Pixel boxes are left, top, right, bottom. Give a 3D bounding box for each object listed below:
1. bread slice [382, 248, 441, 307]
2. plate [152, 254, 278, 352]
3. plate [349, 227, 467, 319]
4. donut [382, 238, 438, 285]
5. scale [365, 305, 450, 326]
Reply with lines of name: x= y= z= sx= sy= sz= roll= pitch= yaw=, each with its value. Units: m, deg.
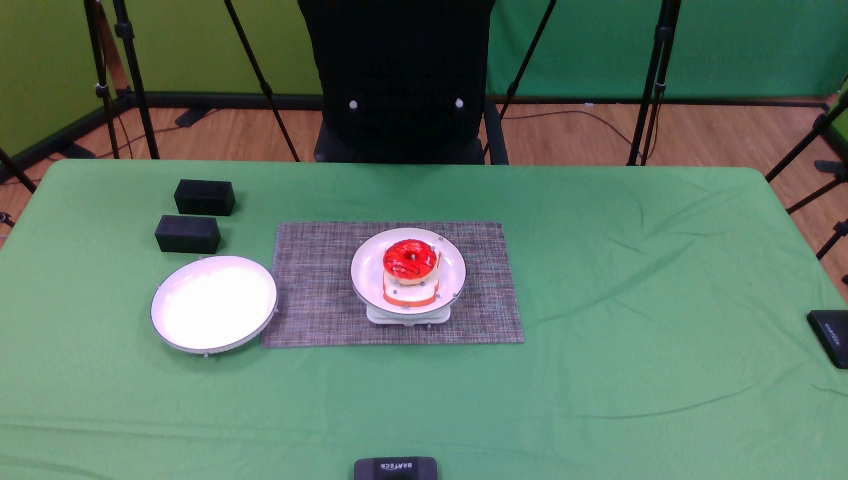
bread slice: x=-0.023 y=0.064 z=1.078 sx=0.105 sy=0.019 sz=0.130 roll=2 pitch=45 yaw=0
plate: x=-0.357 y=0.111 z=1.052 sx=0.208 sy=0.039 sz=0.206 roll=2 pitch=46 yaw=-2
plate: x=-0.029 y=0.061 z=1.077 sx=0.209 sy=0.038 sz=0.208 roll=2 pitch=46 yaw=-2
donut: x=-0.025 y=0.036 z=1.064 sx=0.099 sy=0.048 sz=0.098 roll=0 pitch=44 yaw=0
scale: x=-0.032 y=0.071 z=1.113 sx=0.149 sy=0.032 sz=0.199 roll=0 pitch=46 yaw=-4
